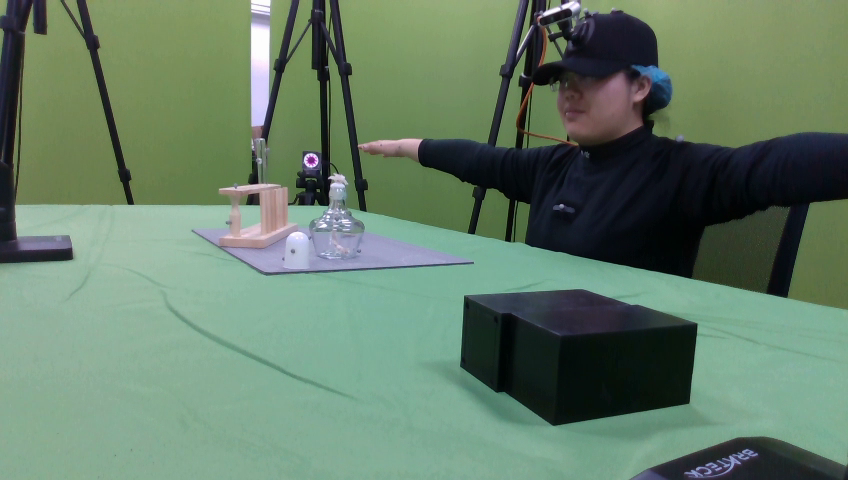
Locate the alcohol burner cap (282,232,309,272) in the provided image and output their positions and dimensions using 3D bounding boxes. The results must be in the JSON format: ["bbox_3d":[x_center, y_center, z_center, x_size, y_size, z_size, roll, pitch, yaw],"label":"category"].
[{"bbox_3d":[-0.157,0.014,0.740,0.034,0.048,0.034,2,6,0],"label":"alcohol burner cap"}]

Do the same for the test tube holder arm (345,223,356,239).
[{"bbox_3d":[-0.132,-0.018,1.083,0.013,0.015,0.178,35,0,-12],"label":"test tube holder arm"}]

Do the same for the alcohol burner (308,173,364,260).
[{"bbox_3d":[-0.121,-0.033,0.841,0.078,0.119,0.078,3,5,0],"label":"alcohol burner"}]

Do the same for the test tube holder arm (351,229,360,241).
[{"bbox_3d":[-0.120,-0.010,1.040,0.010,0.015,0.087,35,0,-11],"label":"test tube holder arm"}]

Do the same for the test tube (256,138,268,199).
[{"bbox_3d":[-0.284,-0.105,1.066,0.017,0.150,0.017,-1,9,0],"label":"test tube"}]

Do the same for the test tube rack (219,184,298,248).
[{"bbox_3d":[-0.266,-0.046,1.002,0.067,0.085,0.242,3,7,0],"label":"test tube rack"}]
